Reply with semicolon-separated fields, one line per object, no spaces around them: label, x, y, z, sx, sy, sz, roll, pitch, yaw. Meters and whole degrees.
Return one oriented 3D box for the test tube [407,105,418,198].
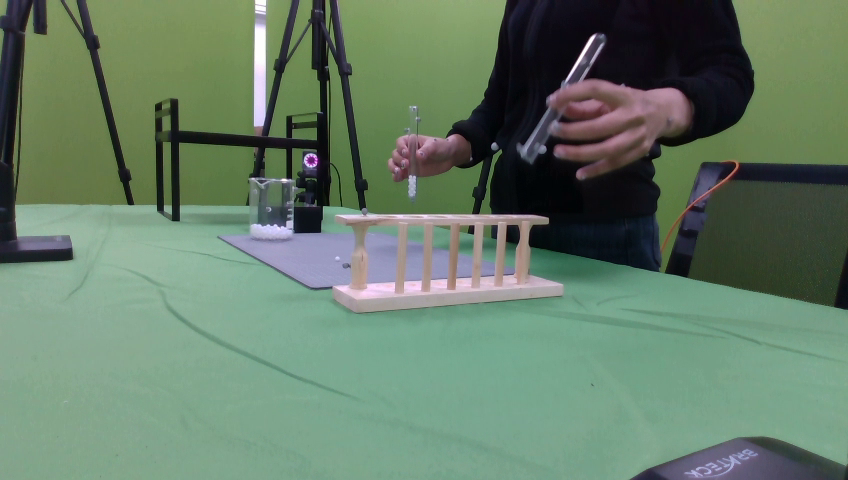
test tube;-0.019;-0.142;0.977;0.017;0.150;0.017;1;14;0

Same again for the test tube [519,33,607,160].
test tube;0.145;-0.150;0.632;0.017;0.150;0.017;33;5;-3

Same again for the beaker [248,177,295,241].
beaker;-0.252;-0.051;0.992;0.074;0.100;0.084;3;9;6

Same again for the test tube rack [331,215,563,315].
test tube rack;0.031;0.019;0.625;0.243;0.085;0.066;-1;8;-28
